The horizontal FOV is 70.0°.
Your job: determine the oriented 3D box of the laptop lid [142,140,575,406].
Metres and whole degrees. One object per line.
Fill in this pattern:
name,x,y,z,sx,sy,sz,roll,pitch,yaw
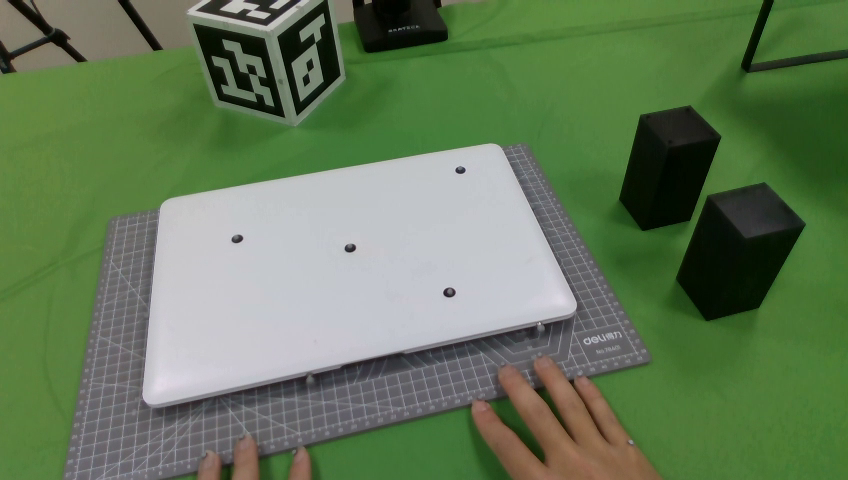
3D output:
laptop lid,-0.068,0.009,0.552,0.357,0.013,0.239,-10,49,-6

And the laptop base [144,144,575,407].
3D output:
laptop base,-0.068,0.016,0.562,0.355,0.023,0.233,-11,50,-7
